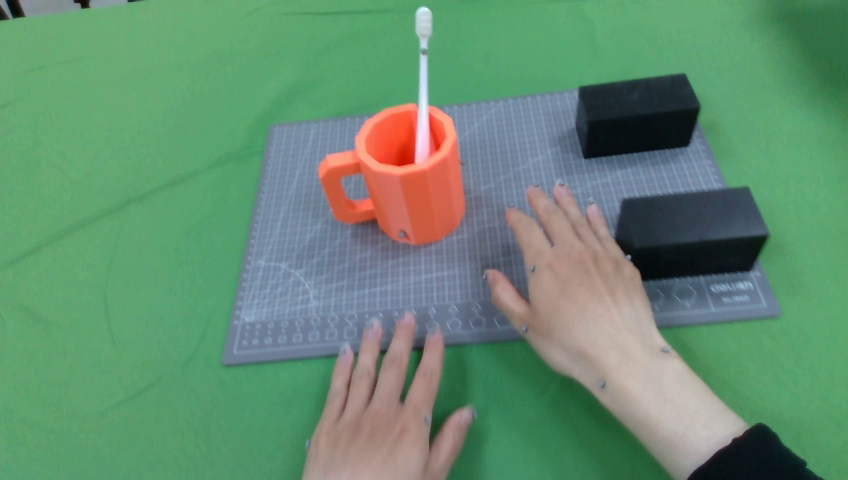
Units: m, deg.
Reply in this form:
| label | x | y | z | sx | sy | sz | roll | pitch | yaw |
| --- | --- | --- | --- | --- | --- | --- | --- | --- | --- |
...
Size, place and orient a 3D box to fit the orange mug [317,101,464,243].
| label | x | y | z | sx | sy | sz | roll | pitch | yaw |
| --- | --- | --- | --- | --- | --- | --- | --- | --- | --- |
| orange mug | -0.028 | -0.057 | 0.543 | 0.126 | 0.102 | 0.082 | -10 | 52 | -4 |

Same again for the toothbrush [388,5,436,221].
| label | x | y | z | sx | sy | sz | roll | pitch | yaw |
| --- | --- | --- | --- | --- | --- | --- | --- | --- | --- |
| toothbrush | -0.011 | -0.104 | 0.513 | 0.016 | 0.182 | 0.014 | 19 | 15 | 37 |
